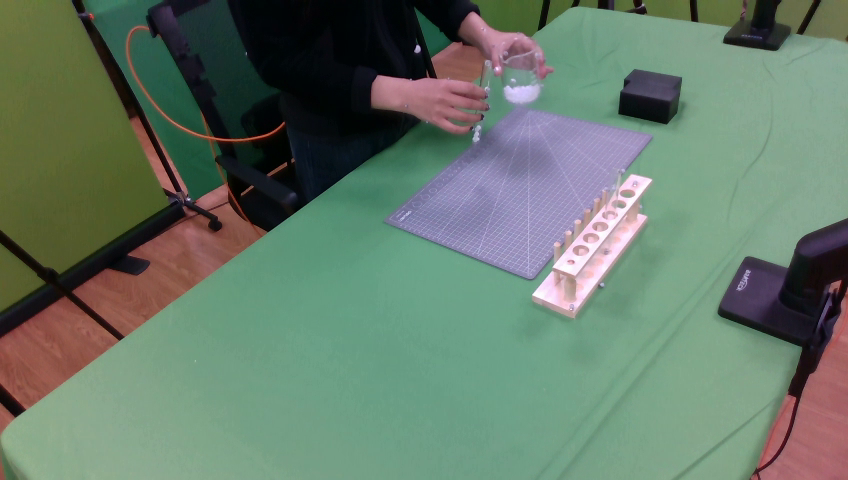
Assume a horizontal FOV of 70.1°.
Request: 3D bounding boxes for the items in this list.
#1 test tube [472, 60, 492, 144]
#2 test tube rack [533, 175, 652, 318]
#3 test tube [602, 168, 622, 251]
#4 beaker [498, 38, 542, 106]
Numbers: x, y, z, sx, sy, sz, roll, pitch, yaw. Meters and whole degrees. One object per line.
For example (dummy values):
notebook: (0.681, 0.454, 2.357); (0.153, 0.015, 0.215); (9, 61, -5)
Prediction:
test tube: (0.100, -0.236, 1.047); (0.017, 0.151, 0.017); (5, 33, -2)
test tube rack: (0.251, -0.001, 0.889); (0.066, 0.085, 0.243); (22, 49, 33)
test tube: (0.264, -0.039, 0.853); (0.017, 0.151, 0.017); (-5, 44, 6)
beaker: (0.175, -0.301, 1.096); (0.073, 0.101, 0.084); (20, 52, 34)
